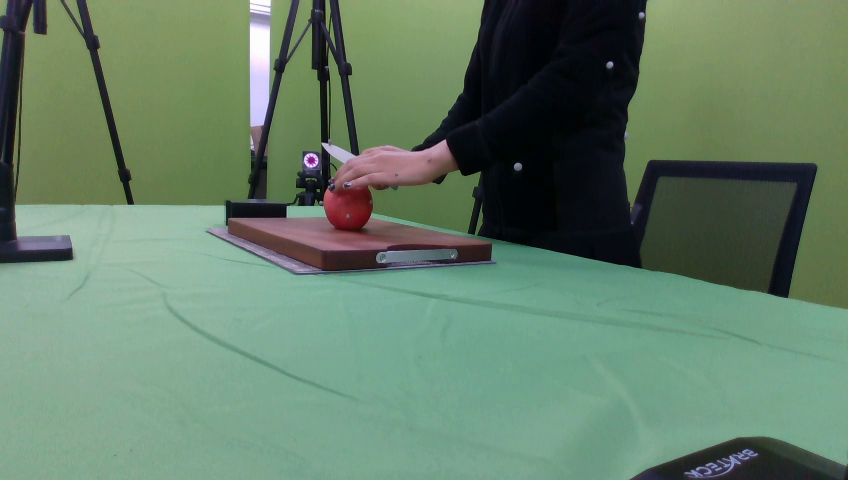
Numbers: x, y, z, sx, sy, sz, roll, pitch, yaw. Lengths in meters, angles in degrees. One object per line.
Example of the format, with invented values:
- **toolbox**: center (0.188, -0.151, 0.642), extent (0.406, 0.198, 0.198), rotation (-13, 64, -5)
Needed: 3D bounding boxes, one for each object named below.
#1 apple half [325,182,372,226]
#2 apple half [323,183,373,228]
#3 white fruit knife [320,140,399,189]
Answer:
- **apple half**: center (-0.123, -0.061, 1.003), extent (0.081, 0.081, 0.033), rotation (2, 11, -1)
- **apple half**: center (-0.123, -0.055, 0.964), extent (0.081, 0.074, 0.053), rotation (5, 11, -1)
- **white fruit knife**: center (-0.108, -0.132, 1.052), extent (0.016, 0.027, 0.208), rotation (8, -9, 36)
